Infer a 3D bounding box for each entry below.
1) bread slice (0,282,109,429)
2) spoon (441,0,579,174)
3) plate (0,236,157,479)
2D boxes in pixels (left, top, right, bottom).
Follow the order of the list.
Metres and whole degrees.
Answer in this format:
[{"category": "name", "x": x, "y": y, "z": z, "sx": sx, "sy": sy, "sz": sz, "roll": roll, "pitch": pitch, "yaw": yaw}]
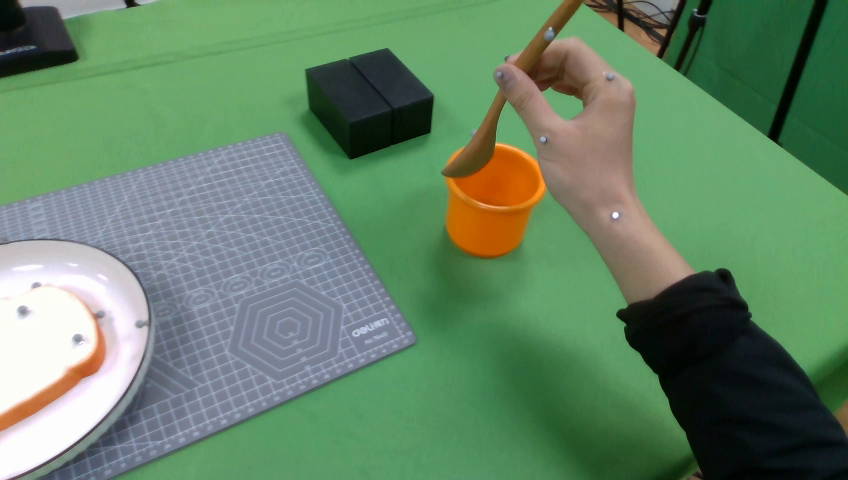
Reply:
[{"category": "bread slice", "x": -0.307, "y": 0.084, "z": 0.443, "sx": 0.131, "sy": 0.019, "sz": 0.104, "roll": -35, "pitch": 62, "yaw": -29}, {"category": "spoon", "x": 0.056, "y": -0.101, "z": 0.426, "sx": 0.042, "sy": 0.194, "sz": 0.021, "roll": -14, "pitch": 65, "yaw": -26}, {"category": "plate", "x": -0.302, "y": 0.086, "z": 0.438, "sx": 0.209, "sy": 0.038, "sz": 0.207, "roll": 4, "pitch": 49, "yaw": -4}]
